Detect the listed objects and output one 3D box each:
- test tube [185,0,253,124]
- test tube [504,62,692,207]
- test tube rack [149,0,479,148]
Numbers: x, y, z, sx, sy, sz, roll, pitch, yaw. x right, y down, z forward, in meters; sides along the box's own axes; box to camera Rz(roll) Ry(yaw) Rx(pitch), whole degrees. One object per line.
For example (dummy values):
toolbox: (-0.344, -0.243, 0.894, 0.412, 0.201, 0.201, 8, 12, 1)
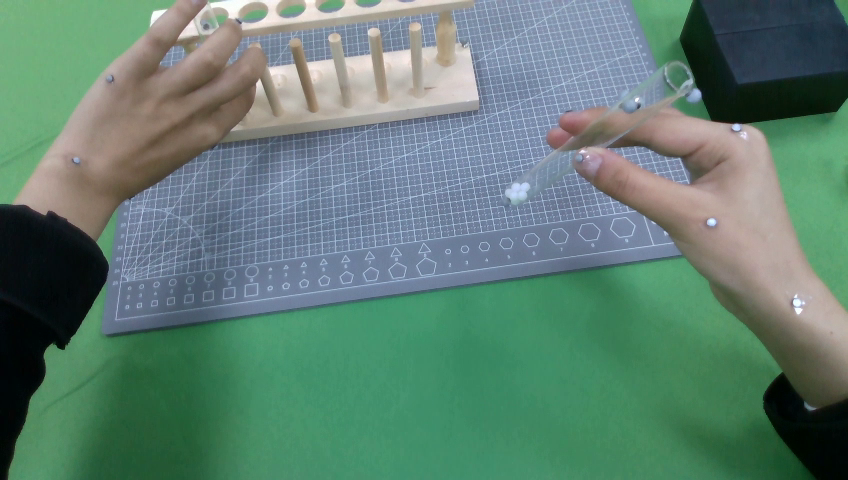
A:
test tube: (-0.151, -0.141, 0.437, 0.017, 0.152, 0.017, -1, 56, 2)
test tube: (0.082, -0.049, 0.323, 0.017, 0.150, 0.017, 7, 71, -20)
test tube rack: (-0.081, -0.141, 0.482, 0.242, 0.086, 0.066, -8, 61, 0)
